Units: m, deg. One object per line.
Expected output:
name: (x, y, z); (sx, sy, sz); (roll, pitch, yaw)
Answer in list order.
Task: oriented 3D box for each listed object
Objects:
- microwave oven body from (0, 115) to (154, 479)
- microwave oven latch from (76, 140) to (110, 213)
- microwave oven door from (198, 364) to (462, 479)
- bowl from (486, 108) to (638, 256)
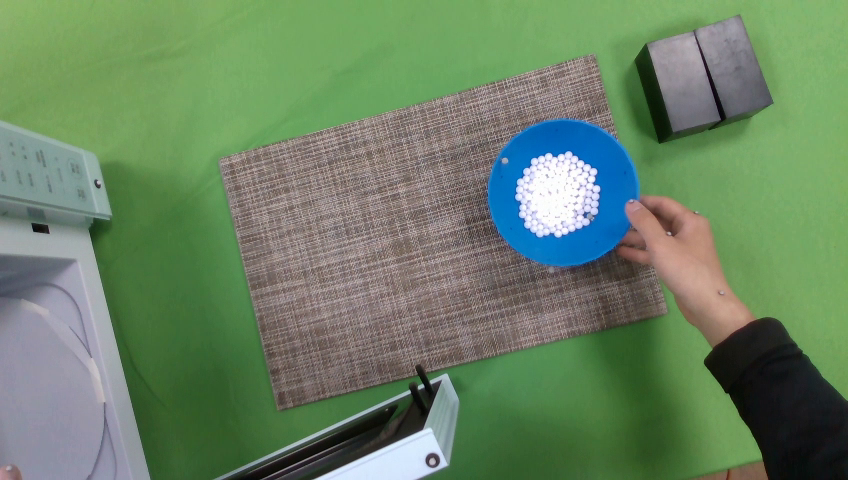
microwave oven body: (-0.487, 0.134, 0.593); (0.326, 0.260, 0.441); (-17, 87, 3)
microwave oven latch: (-0.386, -0.072, 0.690); (0.030, 0.029, 0.079); (-17, 87, 3)
microwave oven door: (-0.136, 0.221, 0.557); (0.356, 0.244, 0.039); (-26, 85, 3)
bowl: (0.140, -0.056, 0.641); (0.151, 0.077, 0.151); (0, 88, 5)
